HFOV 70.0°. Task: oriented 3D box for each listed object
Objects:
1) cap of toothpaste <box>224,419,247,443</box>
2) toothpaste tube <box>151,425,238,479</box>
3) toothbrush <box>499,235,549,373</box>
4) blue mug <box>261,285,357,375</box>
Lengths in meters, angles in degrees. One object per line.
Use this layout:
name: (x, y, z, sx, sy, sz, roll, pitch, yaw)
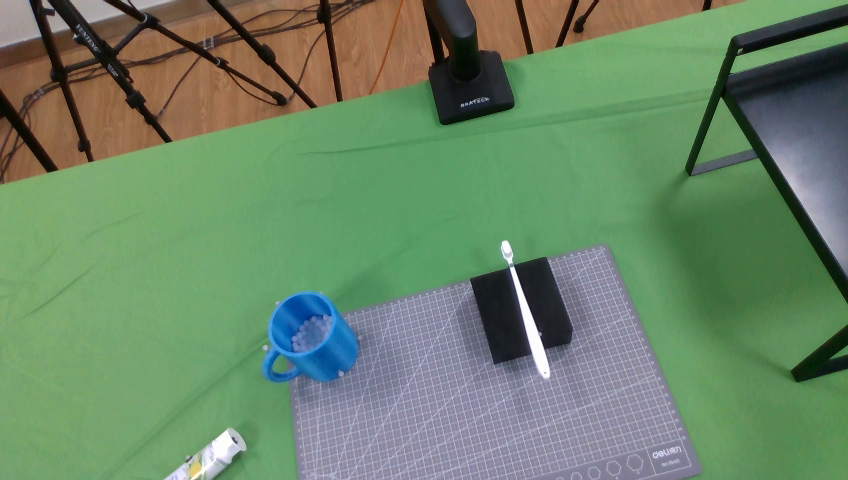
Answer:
cap of toothpaste: (-0.233, 0.236, 0.745, 0.011, 0.038, 0.037, -41, 63, -8)
toothpaste tube: (-0.294, 0.286, 0.736, 0.165, 0.035, 0.054, -40, 59, -8)
toothbrush: (0.119, 0.072, 0.725, 0.014, 0.017, 0.180, -12, 62, -4)
blue mug: (-0.148, 0.123, 0.747, 0.116, 0.107, 0.081, -40, 64, -11)
